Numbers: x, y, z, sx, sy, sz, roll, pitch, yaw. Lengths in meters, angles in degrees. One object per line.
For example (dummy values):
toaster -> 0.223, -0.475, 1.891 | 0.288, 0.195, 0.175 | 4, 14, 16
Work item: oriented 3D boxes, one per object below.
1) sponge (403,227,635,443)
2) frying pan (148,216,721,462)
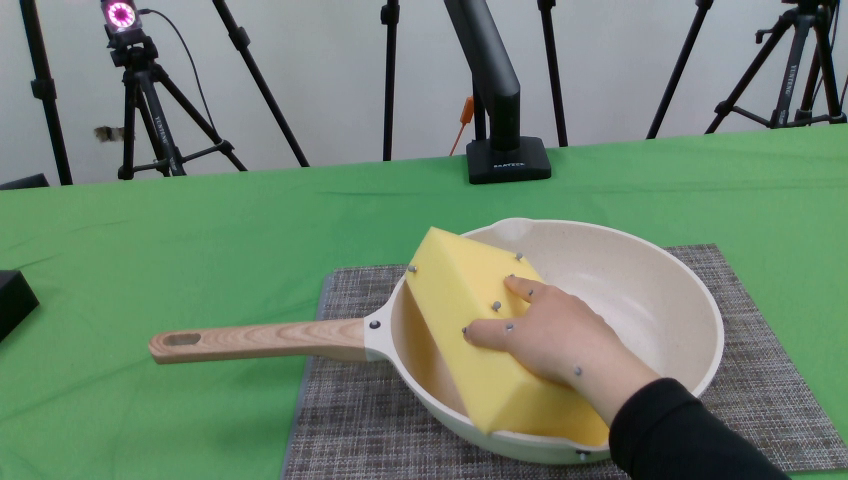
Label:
sponge -> 0.072, 0.079, 0.532 | 0.119, 0.061, 0.204 | 16, 25, -31
frying pan -> 0.007, 0.084, 0.549 | 0.489, 0.103, 0.303 | 0, 33, -6
